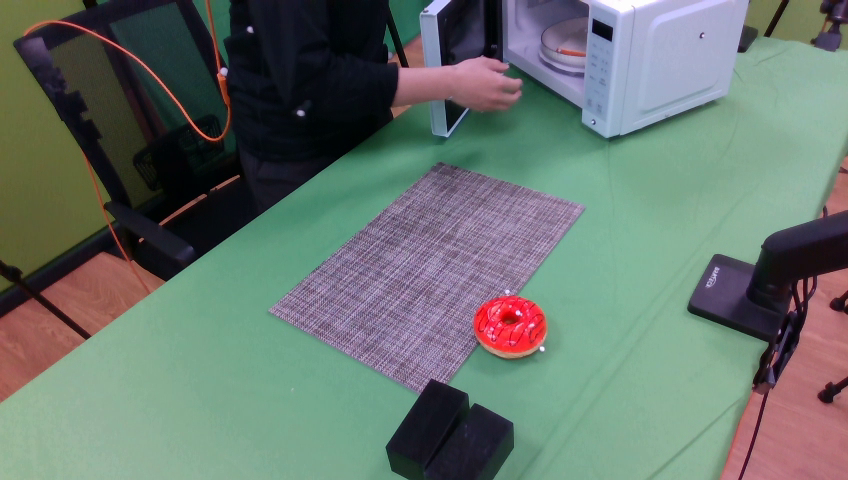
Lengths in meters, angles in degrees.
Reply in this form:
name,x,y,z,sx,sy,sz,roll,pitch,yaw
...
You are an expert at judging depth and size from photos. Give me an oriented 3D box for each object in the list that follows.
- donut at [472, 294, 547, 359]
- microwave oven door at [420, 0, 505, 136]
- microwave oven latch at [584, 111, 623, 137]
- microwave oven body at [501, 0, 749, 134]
name,x,y,z,sx,sy,sz,roll,pitch,yaw
donut,0.114,0.114,0.803,0.099,0.048,0.098,0,40,1
microwave oven door,0.089,-0.408,1.237,0.039,0.245,0.356,12,44,22
microwave oven latch,0.337,-0.222,1.142,0.030,0.029,0.078,-21,42,-14
microwave oven body,0.382,-0.444,1.246,0.327,0.261,0.437,-22,42,-16
